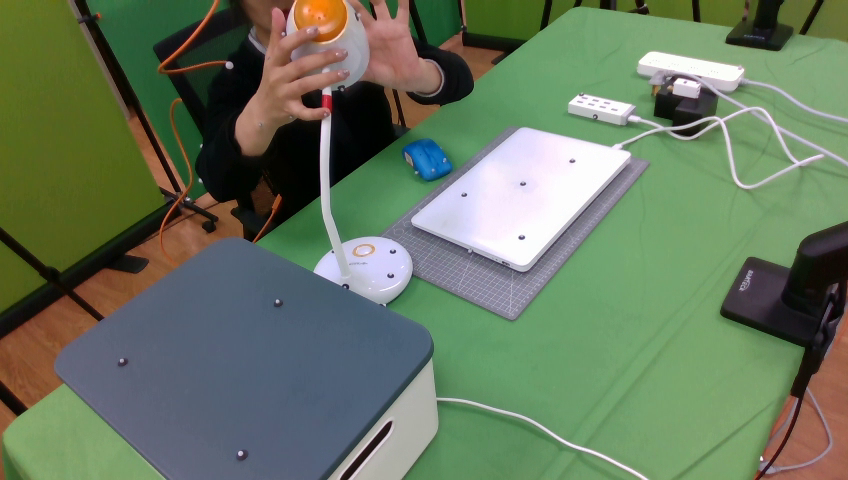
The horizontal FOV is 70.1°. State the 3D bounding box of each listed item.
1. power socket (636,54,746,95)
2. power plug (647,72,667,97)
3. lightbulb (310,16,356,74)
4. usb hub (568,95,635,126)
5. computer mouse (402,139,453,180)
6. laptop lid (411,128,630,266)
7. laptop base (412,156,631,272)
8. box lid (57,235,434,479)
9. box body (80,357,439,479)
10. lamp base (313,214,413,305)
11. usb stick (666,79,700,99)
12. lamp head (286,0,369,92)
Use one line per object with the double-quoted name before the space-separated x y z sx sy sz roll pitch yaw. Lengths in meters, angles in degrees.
"power socket" 0.564 -0.357 1.293 0.225 0.033 0.072 24 51 33
"power plug" 0.494 -0.320 1.260 0.073 0.052 0.035 1 19 -41
"lightbulb" -0.126 -0.263 0.806 0.059 0.108 0.059 -1 80 6
"usb hub" 0.360 -0.264 1.228 0.124 0.025 0.049 24 49 34
"computer mouse" 0.006 -0.159 1.165 0.063 0.041 0.116 -21 45 -16
"laptop lid" 0.172 -0.093 1.049 0.239 0.013 0.358 24 49 36
"laptop base" 0.176 -0.083 1.056 0.233 0.023 0.355 21 48 36
"box lid" -0.198 0.123 0.653 0.368 0.015 0.264 22 49 32
"box body" -0.189 0.178 0.702 0.361 0.161 0.255 22 49 32
"lamp base" -0.107 0.001 0.882 0.160 0.181 0.178 -7 43 4
"usb stick" 0.492 -0.288 1.152 0.058 0.027 0.021 20 51 34
"lamp head" -0.128 -0.260 0.781 0.112 0.112 0.123 -13 1 -4
